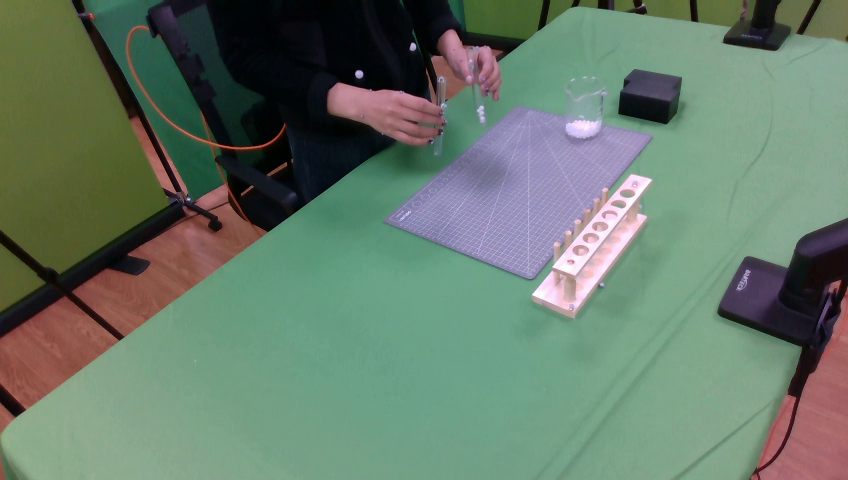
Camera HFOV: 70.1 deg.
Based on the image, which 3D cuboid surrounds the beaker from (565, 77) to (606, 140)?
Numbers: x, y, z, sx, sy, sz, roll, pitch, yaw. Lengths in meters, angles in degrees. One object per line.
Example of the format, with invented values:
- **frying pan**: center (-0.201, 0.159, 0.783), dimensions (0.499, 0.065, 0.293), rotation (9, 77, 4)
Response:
- **beaker**: center (0.304, -0.247, 1.153), dimensions (0.073, 0.101, 0.084), rotation (15, 46, 27)

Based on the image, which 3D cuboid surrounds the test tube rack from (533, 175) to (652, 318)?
- **test tube rack**: center (0.250, -0.001, 0.889), dimensions (0.066, 0.085, 0.243), rotation (22, 49, 33)

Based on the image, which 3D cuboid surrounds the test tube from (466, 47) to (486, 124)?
- **test tube**: center (0.093, -0.271, 1.073), dimensions (0.017, 0.151, 0.017), rotation (-9, 42, 8)

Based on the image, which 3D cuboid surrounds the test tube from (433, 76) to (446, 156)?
- **test tube**: center (0.026, -0.204, 1.012), dimensions (0.017, 0.151, 0.017), rotation (2, 44, -1)
